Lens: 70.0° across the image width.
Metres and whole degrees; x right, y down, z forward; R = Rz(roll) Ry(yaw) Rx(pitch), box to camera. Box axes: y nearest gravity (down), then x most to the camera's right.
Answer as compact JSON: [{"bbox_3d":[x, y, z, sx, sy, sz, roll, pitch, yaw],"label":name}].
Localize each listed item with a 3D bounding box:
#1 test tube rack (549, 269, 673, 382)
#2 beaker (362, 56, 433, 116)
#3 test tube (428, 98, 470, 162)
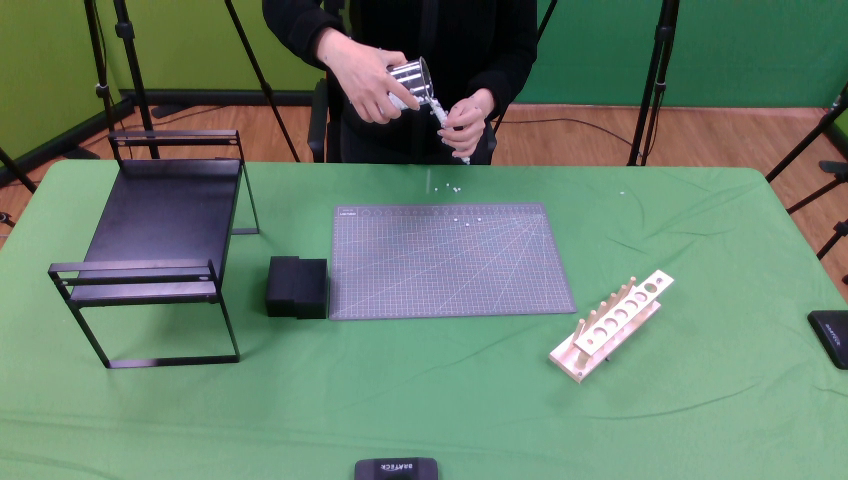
[{"bbox_3d":[0.325,0.134,1.047,0.242,0.085,0.066,-32,56,-30],"label":"test tube rack"},{"bbox_3d":[-0.042,-0.244,0.980,0.100,0.084,0.073,-12,48,13],"label":"beaker"},{"bbox_3d":[0.046,-0.187,1.049,0.017,0.151,0.017,-17,48,20],"label":"test tube"}]
